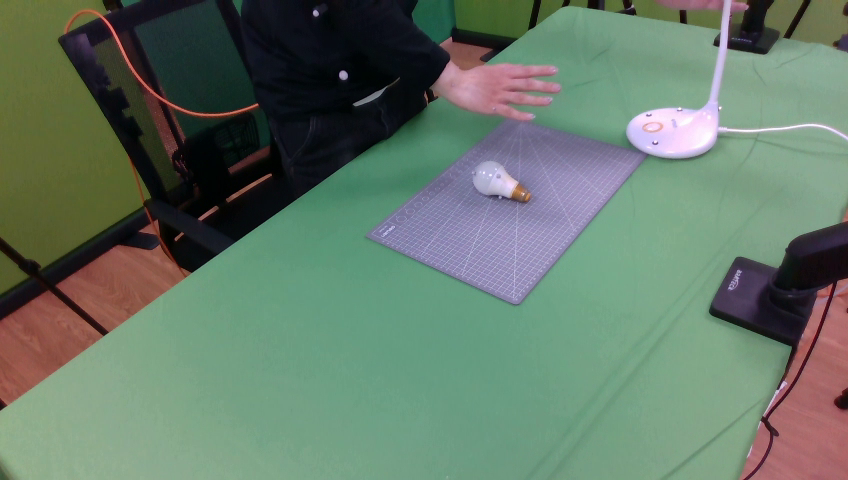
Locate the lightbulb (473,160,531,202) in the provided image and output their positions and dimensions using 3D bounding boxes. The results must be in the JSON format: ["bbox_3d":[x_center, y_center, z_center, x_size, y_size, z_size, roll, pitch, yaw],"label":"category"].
[{"bbox_3d":[0.134,-0.097,1.038,0.107,0.059,0.059,29,50,15],"label":"lightbulb"}]

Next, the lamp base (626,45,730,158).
[{"bbox_3d":[0.467,-0.262,1.085,0.179,0.181,0.159,-5,41,-1],"label":"lamp base"}]
